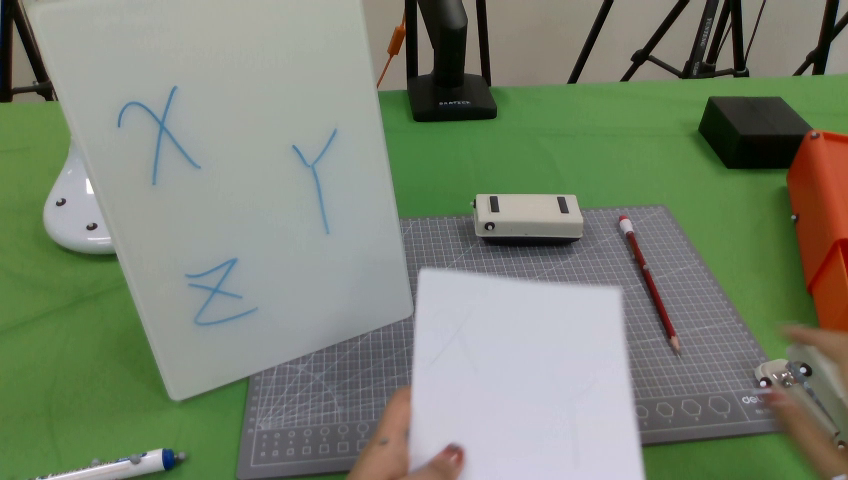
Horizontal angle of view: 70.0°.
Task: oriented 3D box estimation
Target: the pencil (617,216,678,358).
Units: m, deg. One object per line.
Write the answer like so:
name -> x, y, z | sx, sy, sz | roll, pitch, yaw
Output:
pencil -> 0.222, 0.040, 0.607 | 0.012, 0.012, 0.192 | 0, 42, -2

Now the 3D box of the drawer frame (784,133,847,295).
drawer frame -> 0.500, -0.014, 0.627 | 0.201, 0.083, 0.212 | 12, 41, 13

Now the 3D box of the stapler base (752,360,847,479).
stapler base -> 0.318, 0.144, 0.478 | 0.041, 0.024, 0.129 | -11, 44, -14

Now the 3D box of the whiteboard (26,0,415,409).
whiteboard -> -0.153, -0.055, 0.521 | 0.218, 0.307, 0.142 | -17, 24, -20

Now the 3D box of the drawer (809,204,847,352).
drawer -> 0.480, 0.029, 0.578 | 0.194, 0.074, 0.210 | 12, 41, 13

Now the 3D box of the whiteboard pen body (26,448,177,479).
whiteboard pen body -> -0.251, 0.171, 0.430 | 0.141, 0.017, 0.017 | -10, 41, -13

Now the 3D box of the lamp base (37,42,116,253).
lamp base -> -0.339, -0.104, 0.624 | 0.178, 0.182, 0.160 | 24, 45, 27

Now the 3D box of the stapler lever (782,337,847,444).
stapler lever -> 0.320, 0.125, 0.459 | 0.027, 0.040, 0.116 | -11, 45, -13

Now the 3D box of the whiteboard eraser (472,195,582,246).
whiteboard eraser -> 0.109, -0.021, 0.648 | 0.113, 0.042, 0.055 | 1, 41, -1
